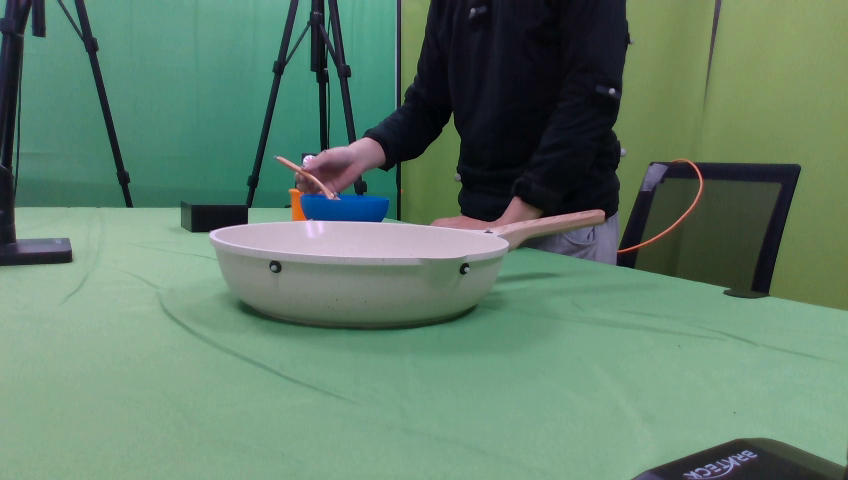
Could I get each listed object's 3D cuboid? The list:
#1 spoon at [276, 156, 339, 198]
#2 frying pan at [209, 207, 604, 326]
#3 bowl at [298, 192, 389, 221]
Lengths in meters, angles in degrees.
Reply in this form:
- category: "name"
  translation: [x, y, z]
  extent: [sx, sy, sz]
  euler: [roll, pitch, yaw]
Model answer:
- category: "spoon"
  translation: [-0.188, -0.099, 1.046]
  extent: [0.193, 0.021, 0.042]
  euler: [38, 26, 21]
- category: "frying pan"
  translation: [0.026, 0.005, 0.664]
  extent: [0.490, 0.102, 0.305]
  euler: [-12, 14, -30]
- category: "bowl"
  translation: [-0.136, -0.037, 1.018]
  extent: [0.151, 0.077, 0.151]
  euler: [2, 8, 0]
